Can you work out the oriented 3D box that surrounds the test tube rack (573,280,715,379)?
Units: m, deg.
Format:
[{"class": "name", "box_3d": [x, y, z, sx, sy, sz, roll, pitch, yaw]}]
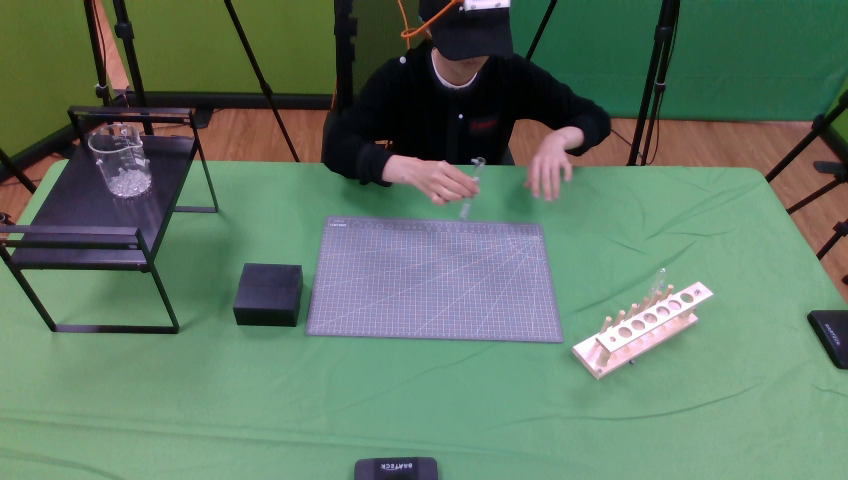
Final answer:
[{"class": "test tube rack", "box_3d": [0.378, 0.140, 1.038, 0.242, 0.085, 0.066, -22, 51, -23]}]

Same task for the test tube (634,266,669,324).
[{"class": "test tube", "box_3d": [0.382, 0.094, 1.021, 0.017, 0.151, 0.017, 2, 48, -2]}]

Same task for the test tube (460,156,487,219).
[{"class": "test tube", "box_3d": [0.087, -0.090, 1.083, 0.017, 0.151, 0.017, 6, 49, -7]}]

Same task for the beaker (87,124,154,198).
[{"class": "beaker", "box_3d": [-0.482, -0.124, 0.978, 0.084, 0.101, 0.073, 9, 46, 4]}]
